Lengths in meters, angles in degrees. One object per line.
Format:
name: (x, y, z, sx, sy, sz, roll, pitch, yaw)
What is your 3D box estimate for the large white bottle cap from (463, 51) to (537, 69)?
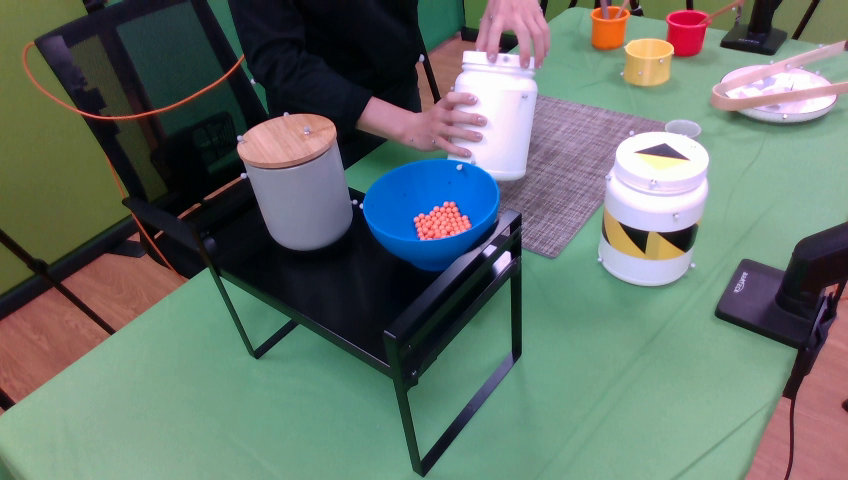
large white bottle cap: (0.119, -0.281, 0.942, 0.115, 0.018, 0.114, 5, 16, -1)

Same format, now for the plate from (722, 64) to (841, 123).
plate: (0.695, -0.282, 1.189, 0.207, 0.039, 0.206, -4, 40, 4)

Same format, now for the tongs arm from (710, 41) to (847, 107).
tongs arm: (0.712, -0.332, 1.194, 0.386, 0.026, 0.050, -19, 45, -16)

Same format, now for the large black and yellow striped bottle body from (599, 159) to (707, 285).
large black and yellow striped bottle body: (0.320, -0.042, 0.854, 0.131, 0.185, 0.130, -4, 40, 4)

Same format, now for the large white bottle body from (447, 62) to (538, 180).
large white bottle body: (0.110, -0.198, 0.967, 0.131, 0.185, 0.130, 6, 16, -1)

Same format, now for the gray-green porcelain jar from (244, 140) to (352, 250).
gray-green porcelain jar: (-0.144, -0.060, 0.714, 0.106, 0.127, 0.105, -4, 41, 4)

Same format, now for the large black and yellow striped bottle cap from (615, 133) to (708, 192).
large black and yellow striped bottle cap: (0.313, -0.105, 0.799, 0.115, 0.019, 0.114, -5, 41, 5)

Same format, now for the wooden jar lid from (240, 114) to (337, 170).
wooden jar lid: (-0.149, -0.106, 0.673, 0.108, 0.021, 0.108, -6, 39, 5)

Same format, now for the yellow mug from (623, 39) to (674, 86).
yellow mug: (0.484, -0.398, 1.333, 0.100, 0.064, 0.130, -18, 41, -11)

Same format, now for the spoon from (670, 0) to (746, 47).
spoon: (0.629, -0.485, 1.350, 0.022, 0.193, 0.042, 47, 54, -7)

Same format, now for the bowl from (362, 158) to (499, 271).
bowl: (0.011, -0.019, 0.679, 0.151, 0.077, 0.150, -5, 41, 5)

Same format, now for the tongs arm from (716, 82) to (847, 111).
tongs arm: (0.738, -0.281, 1.134, 0.388, 0.028, 0.028, -9, 47, -5)

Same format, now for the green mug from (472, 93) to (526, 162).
green mug: (0.143, -0.201, 1.122, 0.093, 0.105, 0.124, -28, 45, -23)

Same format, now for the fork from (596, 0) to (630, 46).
fork: (0.481, -0.556, 1.452, 0.028, 0.019, 0.207, 40, 103, 38)

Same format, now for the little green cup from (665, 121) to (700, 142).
little green cup: (0.473, -0.188, 1.113, 0.061, 0.039, 0.061, -5, 40, 5)

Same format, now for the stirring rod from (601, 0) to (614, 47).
stirring rod: (0.439, -0.552, 1.463, 0.014, 0.006, 0.175, -7, 83, 2)
